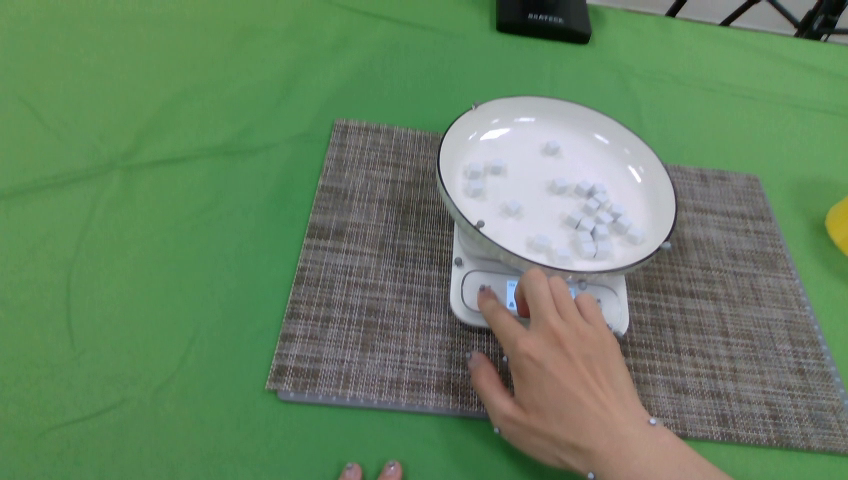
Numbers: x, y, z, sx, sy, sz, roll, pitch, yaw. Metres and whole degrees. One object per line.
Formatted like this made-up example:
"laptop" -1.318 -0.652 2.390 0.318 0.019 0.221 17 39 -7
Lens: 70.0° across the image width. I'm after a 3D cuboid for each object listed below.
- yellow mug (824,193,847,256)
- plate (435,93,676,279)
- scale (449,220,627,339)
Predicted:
"yellow mug" 0.458 -0.011 0.579 0.100 0.064 0.129 6 52 -4
"plate" 0.111 -0.048 0.529 0.209 0.038 0.207 5 52 -6
"scale" 0.100 -0.010 0.539 0.149 0.032 0.199 8 51 -3
